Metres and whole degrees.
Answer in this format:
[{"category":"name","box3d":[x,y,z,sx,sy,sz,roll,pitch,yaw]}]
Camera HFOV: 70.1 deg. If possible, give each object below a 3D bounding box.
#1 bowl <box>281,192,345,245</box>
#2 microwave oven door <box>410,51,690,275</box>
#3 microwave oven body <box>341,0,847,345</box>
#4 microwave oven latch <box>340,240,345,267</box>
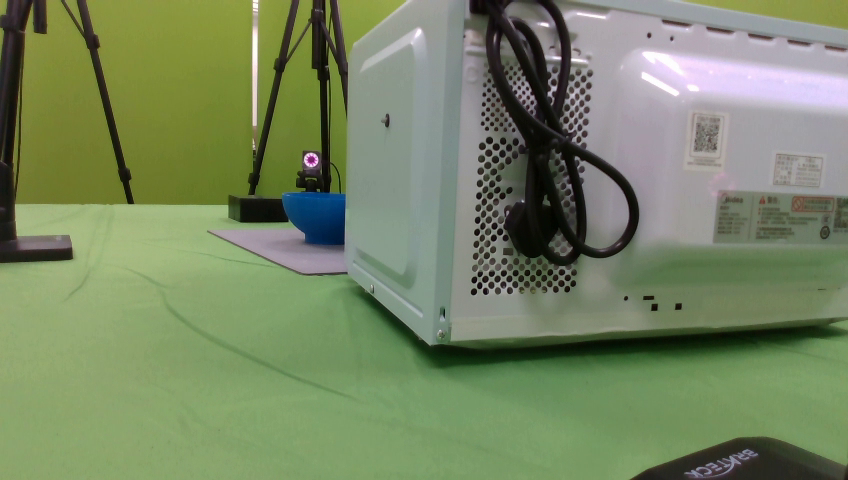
[{"category":"bowl","box3d":[-0.158,-0.035,0.991,0.151,0.077,0.151,3,7,0]},{"category":"microwave oven door","box3d":[0.161,-0.084,0.723,0.357,0.243,0.039,0,8,-20]},{"category":"microwave oven body","box3d":[0.169,-0.059,0.573,0.444,0.260,0.324,1,7,-20]},{"category":"microwave oven latch","box3d":[-0.052,0.016,0.661,0.079,0.029,0.030,1,7,-18]}]
